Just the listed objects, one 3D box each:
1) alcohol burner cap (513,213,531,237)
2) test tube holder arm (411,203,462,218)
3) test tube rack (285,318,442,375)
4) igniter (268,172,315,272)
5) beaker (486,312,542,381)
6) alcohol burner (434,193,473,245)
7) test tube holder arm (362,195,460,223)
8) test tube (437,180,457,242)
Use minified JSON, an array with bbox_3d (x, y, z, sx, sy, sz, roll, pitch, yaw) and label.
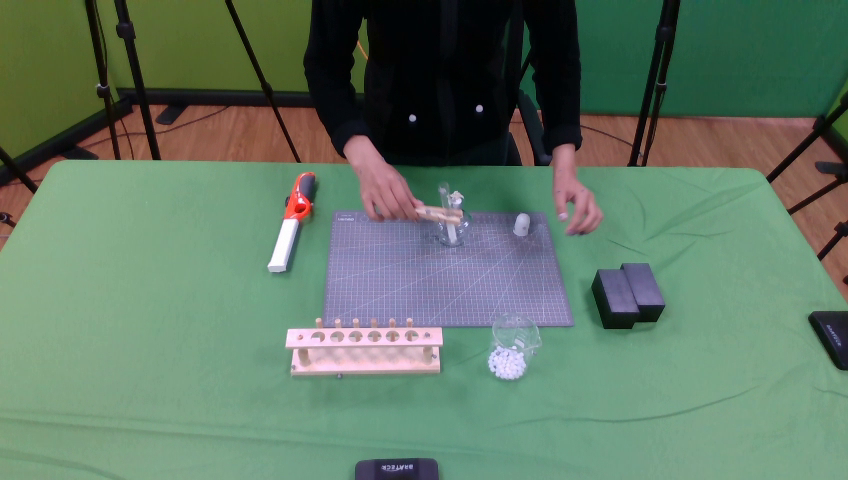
[{"bbox_3d":[0.200,-0.034,1.227,0.034,0.048,0.033,1,45,-1],"label":"alcohol burner cap"},{"bbox_3d":[0.020,-0.050,1.014,0.087,0.015,0.010,7,51,14],"label":"test tube holder arm"},{"bbox_3d":[-0.095,0.168,0.986,0.242,0.085,0.066,0,46,-4],"label":"test tube rack"},{"bbox_3d":[-0.264,-0.045,1.219,0.057,0.025,0.275,-2,46,8],"label":"igniter"},{"bbox_3d":[0.144,0.177,0.985,0.084,0.101,0.074,22,49,16],"label":"beaker"},{"bbox_3d":[0.059,-0.046,1.179,0.078,0.120,0.077,1,48,-1],"label":"alcohol burner"},{"bbox_3d":[-0.024,-0.053,1.024,0.178,0.015,0.013,12,52,18],"label":"test tube holder arm"},{"bbox_3d":[0.040,-0.045,1.002,0.017,0.151,0.017,-5,52,7],"label":"test tube"}]
